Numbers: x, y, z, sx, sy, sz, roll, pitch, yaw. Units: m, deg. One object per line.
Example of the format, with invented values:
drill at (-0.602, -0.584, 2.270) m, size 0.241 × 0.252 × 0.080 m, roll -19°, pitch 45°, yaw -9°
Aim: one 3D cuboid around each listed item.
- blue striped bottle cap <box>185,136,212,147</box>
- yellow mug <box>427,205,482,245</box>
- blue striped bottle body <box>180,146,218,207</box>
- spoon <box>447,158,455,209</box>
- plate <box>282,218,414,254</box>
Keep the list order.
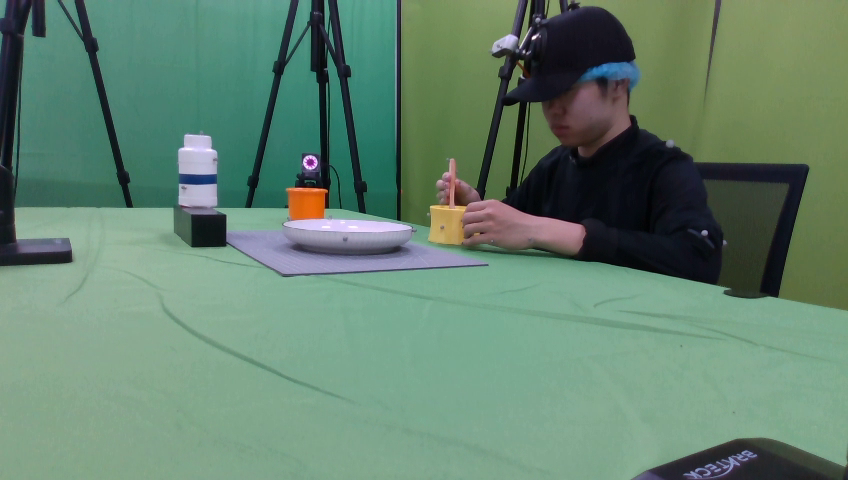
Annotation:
blue striped bottle cap at (-0.390, -0.169, 1.047) m, size 0.044 × 0.020 × 0.044 m, roll 4°, pitch 10°, yaw 0°
yellow mug at (0.062, -0.028, 1.111) m, size 0.100 × 0.064 × 0.130 m, roll 0°, pitch 9°, yaw -20°
blue striped bottle body at (-0.392, -0.118, 1.053) m, size 0.063 × 0.120 × 0.063 m, roll 3°, pitch 8°, yaw 0°
spoon at (0.052, -0.082, 1.150) m, size 0.041 × 0.193 × 0.022 m, roll 0°, pitch -29°, yaw 6°
plate at (-0.121, -0.007, 0.971) m, size 0.208 × 0.039 × 0.207 m, roll 2°, pitch 7°, yaw 0°
